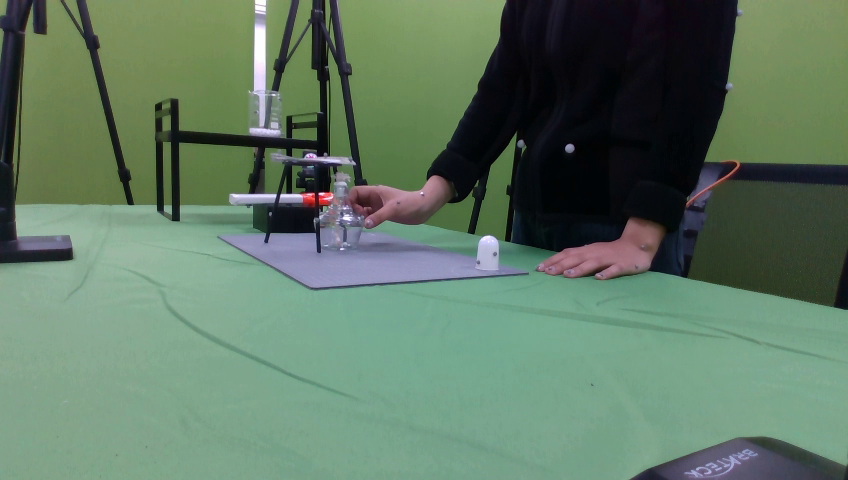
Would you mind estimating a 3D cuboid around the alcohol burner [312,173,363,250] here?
[{"bbox_3d":[-0.130,-0.044,0.925,0.078,0.119,0.078,5,7,0],"label":"alcohol burner"}]

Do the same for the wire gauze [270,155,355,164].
[{"bbox_3d":[-0.174,-0.123,0.925,0.125,0.011,0.121,0,8,-12],"label":"wire gauze"}]

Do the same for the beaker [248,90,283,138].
[{"bbox_3d":[-0.354,-0.278,1.340,0.074,0.100,0.084,6,9,26],"label":"beaker"}]

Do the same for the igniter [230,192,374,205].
[{"bbox_3d":[-0.228,-0.079,1.164,0.278,0.025,0.057,-2,15,-30],"label":"igniter"}]

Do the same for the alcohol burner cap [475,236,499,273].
[{"bbox_3d":[0.084,0.019,0.799,0.034,0.048,0.034,2,6,0],"label":"alcohol burner cap"}]

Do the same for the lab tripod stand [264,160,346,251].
[{"bbox_3d":[-0.177,-0.056,0.930,0.148,0.131,0.148,1,9,0],"label":"lab tripod stand"}]
